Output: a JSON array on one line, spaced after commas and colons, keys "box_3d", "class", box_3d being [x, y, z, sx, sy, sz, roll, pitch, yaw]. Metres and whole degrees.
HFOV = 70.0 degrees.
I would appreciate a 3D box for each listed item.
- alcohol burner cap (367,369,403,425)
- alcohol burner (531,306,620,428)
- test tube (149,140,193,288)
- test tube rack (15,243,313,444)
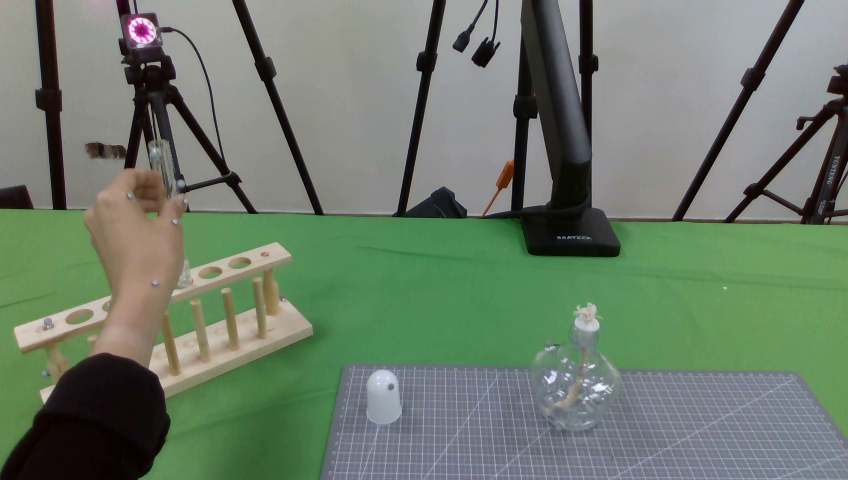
[{"box_3d": [-0.036, 0.136, 0.537, 0.034, 0.048, 0.033, 1, 31, 0], "class": "alcohol burner cap"}, {"box_3d": [0.133, 0.104, 0.524, 0.078, 0.120, 0.077, 1, 32, 0], "class": "alcohol burner"}, {"box_3d": [-0.219, -0.017, 0.530, 0.017, 0.151, 0.017, 4, 36, -3], "class": "test tube"}, {"box_3d": [-0.233, 0.088, 0.578, 0.243, 0.086, 0.066, -21, 36, -32], "class": "test tube rack"}]
